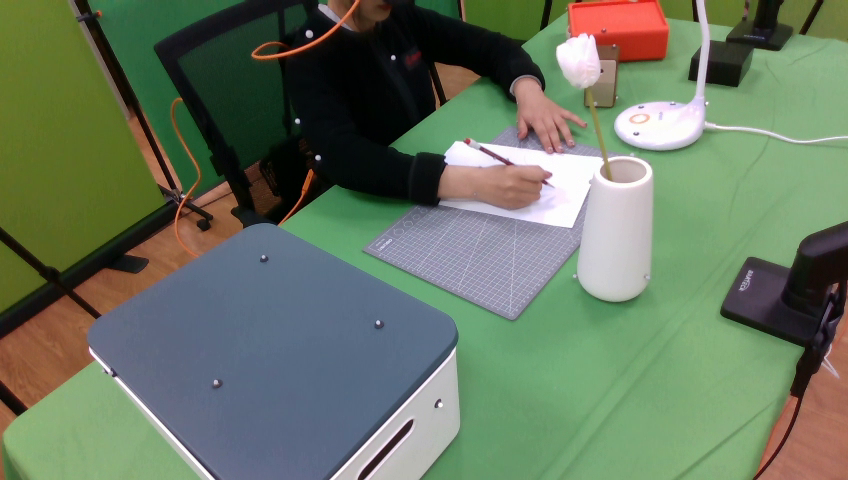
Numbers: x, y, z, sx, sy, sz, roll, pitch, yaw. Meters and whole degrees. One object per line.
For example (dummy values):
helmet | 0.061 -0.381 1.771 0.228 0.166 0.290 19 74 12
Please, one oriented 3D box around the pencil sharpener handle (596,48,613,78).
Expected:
pencil sharpener handle | 0.382 -0.378 1.276 0.036 0.068 0.030 4 41 21

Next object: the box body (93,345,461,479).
box body | -0.162 0.170 0.708 0.361 0.161 0.255 25 50 34

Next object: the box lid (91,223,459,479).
box lid | -0.174 0.103 0.667 0.368 0.015 0.264 24 48 35

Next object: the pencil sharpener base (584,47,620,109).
pencil sharpener base | 0.367 -0.336 1.249 0.061 0.107 0.076 6 42 19

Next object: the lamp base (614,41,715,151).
lamp base | 0.449 -0.277 1.106 0.179 0.181 0.160 1 41 9

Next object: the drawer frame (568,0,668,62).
drawer frame | 0.450 -0.495 1.441 0.213 0.083 0.201 -1 40 9

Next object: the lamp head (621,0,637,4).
lamp head | 0.319 -0.453 0.962 0.113 0.123 0.112 20 33 -13

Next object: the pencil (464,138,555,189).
pencil | 0.145 -0.125 1.003 0.195 0.012 0.012 23 32 -26

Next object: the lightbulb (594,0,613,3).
lightbulb | 0.305 -0.437 0.978 0.060 0.107 0.059 12 43 -11

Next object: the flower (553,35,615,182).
flower | 0.237 -0.083 0.774 0.044 0.363 0.038 -22 26 7

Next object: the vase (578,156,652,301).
vase | 0.261 -0.011 0.812 0.098 0.201 0.097 -4 40 4

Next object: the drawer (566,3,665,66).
drawer | 0.447 -0.493 1.440 0.211 0.073 0.194 0 40 10
